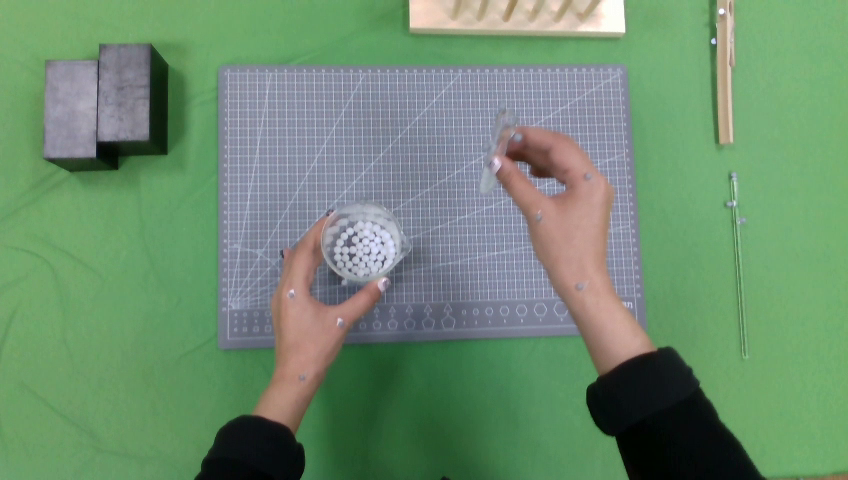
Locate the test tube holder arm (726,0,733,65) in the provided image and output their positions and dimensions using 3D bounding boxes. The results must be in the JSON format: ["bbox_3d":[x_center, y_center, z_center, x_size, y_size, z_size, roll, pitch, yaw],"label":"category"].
[{"bbox_3d":[0.346,-0.243,0.696,0.010,0.015,0.087,9,82,-32],"label":"test tube holder arm"}]

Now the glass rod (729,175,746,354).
[{"bbox_3d":[0.346,0.025,0.670,0.008,0.008,0.199,0,83,-4],"label":"glass rod"}]

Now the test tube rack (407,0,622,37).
[{"bbox_3d":[0.105,-0.270,0.648,0.243,0.085,0.066,0,83,-4],"label":"test tube rack"}]

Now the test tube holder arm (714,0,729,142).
[{"bbox_3d":[0.338,-0.199,0.688,0.013,0.015,0.178,8,82,-33],"label":"test tube holder arm"}]

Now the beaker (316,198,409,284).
[{"bbox_3d":[-0.059,0.006,0.592,0.084,0.100,0.074,7,82,-4],"label":"beaker"}]

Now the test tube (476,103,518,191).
[{"bbox_3d":[0.057,-0.071,0.496,0.017,0.151,0.017,0,75,-1],"label":"test tube"}]
